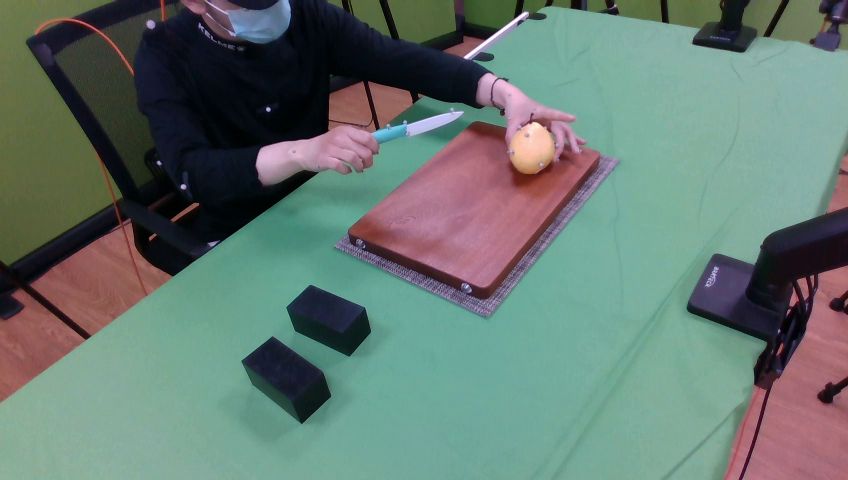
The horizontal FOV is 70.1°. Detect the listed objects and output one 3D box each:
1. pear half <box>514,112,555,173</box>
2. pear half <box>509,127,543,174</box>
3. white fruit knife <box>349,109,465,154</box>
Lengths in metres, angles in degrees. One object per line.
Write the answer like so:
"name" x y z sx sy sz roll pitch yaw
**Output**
"pear half" 0.190 -0.175 1.031 0.076 0.110 0.056 28 53 30
"pear half" 0.167 -0.148 1.020 0.070 0.088 0.031 30 54 26
"white fruit knife" -0.031 -0.172 0.944 0.206 0.027 0.016 -13 47 22
